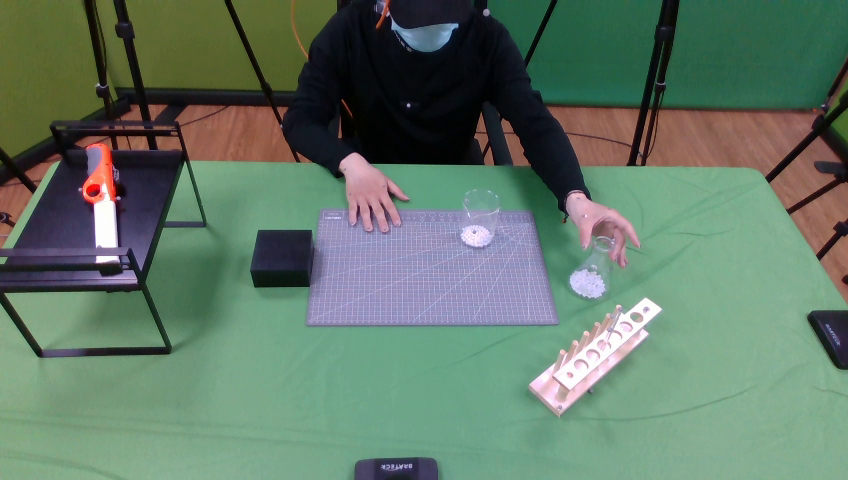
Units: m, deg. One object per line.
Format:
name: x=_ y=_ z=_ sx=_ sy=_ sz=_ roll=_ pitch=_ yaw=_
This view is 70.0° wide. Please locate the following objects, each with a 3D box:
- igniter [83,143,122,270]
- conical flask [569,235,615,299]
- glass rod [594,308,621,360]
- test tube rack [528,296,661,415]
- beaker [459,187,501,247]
igniter: x=-0.508 y=-0.063 z=0.962 sx=0.057 sy=0.025 sz=0.274 roll=-14 pitch=53 yaw=-18
conical flask: x=0.314 y=0.046 z=1.108 sx=0.075 sy=0.122 sz=0.075 roll=1 pitch=47 yaw=-1
glass rod: x=0.278 y=0.156 z=0.934 sx=0.008 sy=0.201 sz=0.008 roll=-1 pitch=54 yaw=1
test tube rack: x=0.285 y=0.178 z=1.005 sx=0.242 sy=0.085 sz=0.066 roll=-31 pitch=55 yaw=-29
beaker: x=0.106 y=-0.039 z=1.186 sx=0.074 sy=0.101 sz=0.084 roll=22 pitch=50 yaw=17
